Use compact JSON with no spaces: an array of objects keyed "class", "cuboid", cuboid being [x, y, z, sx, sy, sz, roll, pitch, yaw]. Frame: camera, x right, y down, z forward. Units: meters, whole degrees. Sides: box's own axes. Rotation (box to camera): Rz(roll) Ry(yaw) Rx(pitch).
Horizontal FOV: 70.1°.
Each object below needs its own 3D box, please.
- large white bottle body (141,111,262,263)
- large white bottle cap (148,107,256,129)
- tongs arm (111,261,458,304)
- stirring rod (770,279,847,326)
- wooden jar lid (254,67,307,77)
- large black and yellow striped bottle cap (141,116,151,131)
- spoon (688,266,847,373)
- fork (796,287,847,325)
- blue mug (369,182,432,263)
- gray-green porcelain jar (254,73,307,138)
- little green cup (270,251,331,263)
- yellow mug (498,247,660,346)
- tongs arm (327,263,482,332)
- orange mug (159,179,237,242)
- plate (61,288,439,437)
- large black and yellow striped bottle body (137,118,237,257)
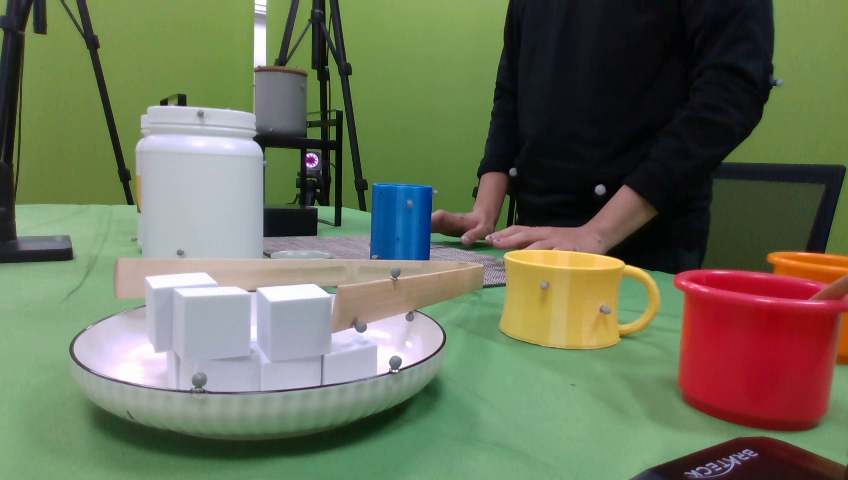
[{"class":"large white bottle body","cuboid":[-0.254,-0.053,0.697,0.131,0.184,0.130,2,7,0]},{"class":"large white bottle cap","cuboid":[-0.250,-0.137,0.686,0.115,0.018,0.115,3,8,0]},{"class":"tongs arm","cuboid":[-0.080,0.032,0.527,0.028,0.027,0.389,-3,-3,33]},{"class":"stirring rod","cuboid":[0.349,0.022,0.468,0.014,0.006,0.175,-12,-26,-50]},{"class":"wooden jar lid","cuboid":[-0.296,-0.339,1.251,0.108,0.020,0.108,1,7,0]},{"class":"large black and yellow striped bottle cap","cuboid":[-0.328,-0.158,0.837,0.115,0.019,0.115,2,6,0]},{"class":"spoon","cuboid":[0.216,0.032,0.327,0.042,0.021,0.193,2,-37,-23]},{"class":"fork","cuboid":[0.324,0.018,0.441,0.028,0.018,0.207,-3,-36,-5]},{"class":"blue mug","cuboid":[-0.027,-0.026,0.835,0.082,0.106,0.117,5,7,19]},{"class":"gray-green porcelain jar","cuboid":[-0.298,-0.277,1.259,0.106,0.126,0.106,3,8,0]},{"class":"little green cup","cuboid":[-0.129,0.034,0.629,0.061,0.038,0.061,2,6,0]},{"class":"yellow mug","cuboid":[0.130,0.045,0.508,0.131,0.064,0.100,4,7,6]},{"class":"tongs arm","cuboid":[-0.003,0.036,0.493,0.050,0.026,0.386,1,0,19]},{"class":"orange mug","cuboid":[-0.368,-0.051,0.991,0.127,0.101,0.083,-10,14,-41]},{"class":"plate","cuboid":[-0.095,0.069,0.362,0.208,0.039,0.207,3,7,0]},{"class":"large black and yellow striped bottle body","cuboid":[-0.330,-0.075,0.849,0.131,0.184,0.130,2,8,0]}]
